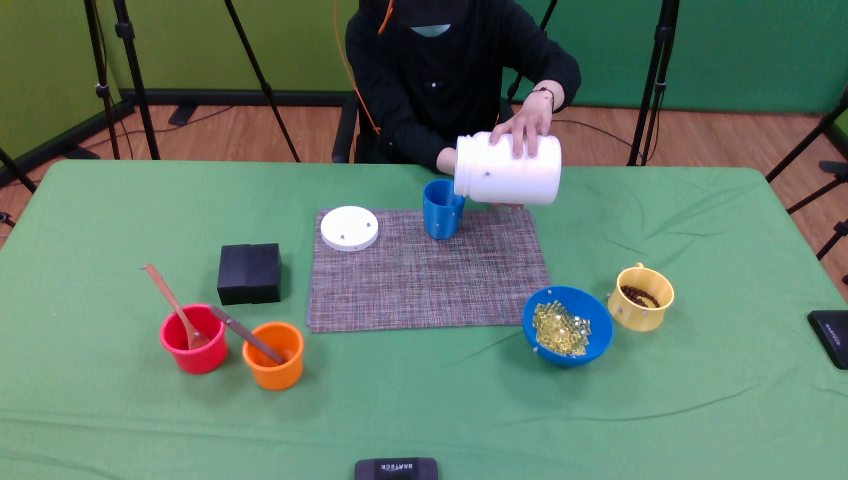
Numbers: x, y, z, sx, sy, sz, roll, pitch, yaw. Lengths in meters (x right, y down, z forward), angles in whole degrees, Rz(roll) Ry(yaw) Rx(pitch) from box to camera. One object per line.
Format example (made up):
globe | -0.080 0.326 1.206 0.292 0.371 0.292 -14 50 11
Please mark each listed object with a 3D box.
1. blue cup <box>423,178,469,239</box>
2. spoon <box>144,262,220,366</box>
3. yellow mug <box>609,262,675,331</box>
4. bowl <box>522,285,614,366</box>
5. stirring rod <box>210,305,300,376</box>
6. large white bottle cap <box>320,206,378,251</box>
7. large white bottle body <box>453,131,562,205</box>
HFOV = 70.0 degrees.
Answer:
blue cup | 0.036 -0.056 1.192 0.093 0.101 0.092 3 45 -3
spoon | -0.389 0.118 0.970 0.041 0.021 0.194 -34 101 -34
yellow mug | 0.394 0.094 1.103 0.100 0.064 0.130 7 45 4
bowl | 0.235 0.158 1.022 0.151 0.077 0.150 2 46 -2
stirring rod | -0.262 0.158 0.946 0.177 0.006 0.014 43 43 -21
large white bottle cap | -0.150 -0.024 1.207 0.115 0.018 0.114 2 46 -2
large white bottle body | 0.148 -0.133 1.112 0.185 0.131 0.130 3 46 1
